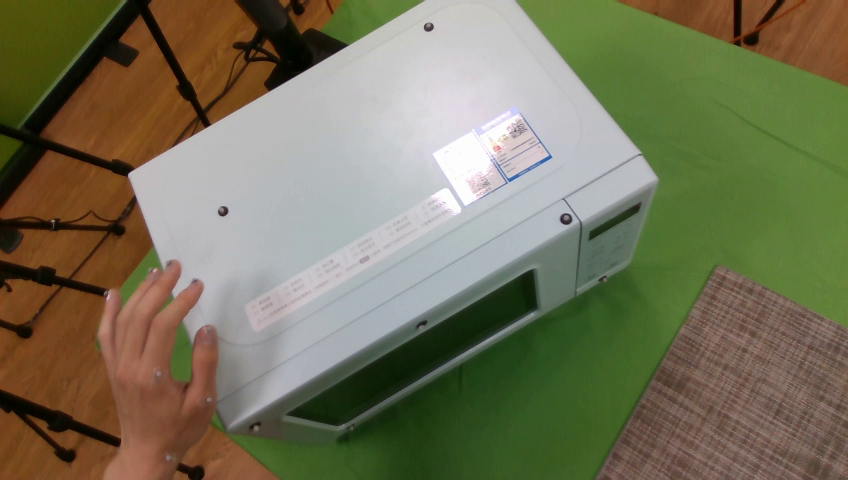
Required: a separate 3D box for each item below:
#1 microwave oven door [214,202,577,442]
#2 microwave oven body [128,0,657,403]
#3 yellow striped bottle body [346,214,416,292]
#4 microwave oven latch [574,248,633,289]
[{"bbox_3d":[-0.003,0.101,0.629,0.356,0.246,0.039,-31,66,0],"label":"microwave oven door"},{"bbox_3d":[-0.033,-0.034,0.690,0.442,0.262,0.323,-31,67,0],"label":"microwave oven body"},{"bbox_3d":[-0.049,0.013,0.685,0.063,0.121,0.062,-3,69,9],"label":"yellow striped bottle body"},{"bbox_3d":[0.208,0.026,0.723,0.079,0.030,0.030,-29,67,1],"label":"microwave oven latch"}]
